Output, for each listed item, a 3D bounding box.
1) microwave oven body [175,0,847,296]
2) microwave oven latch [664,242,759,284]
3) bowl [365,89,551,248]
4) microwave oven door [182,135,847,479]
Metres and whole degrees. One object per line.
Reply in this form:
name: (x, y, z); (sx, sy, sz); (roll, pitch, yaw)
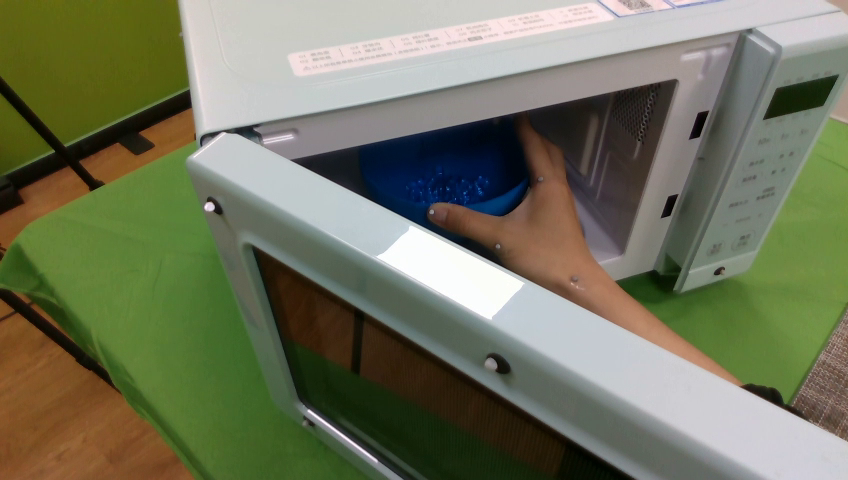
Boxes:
microwave oven body: (0.044, -0.107, 0.543); (0.442, 0.262, 0.322); (-15, 47, -13)
microwave oven latch: (0.263, 0.014, 0.555); (0.079, 0.030, 0.030); (-14, 47, -12)
bowl: (0.026, -0.047, 0.519); (0.151, 0.077, 0.150); (1, 59, -2)
microwave oven door: (0.029, 0.105, 0.322); (0.353, 0.246, 0.039); (27, 51, 25)
